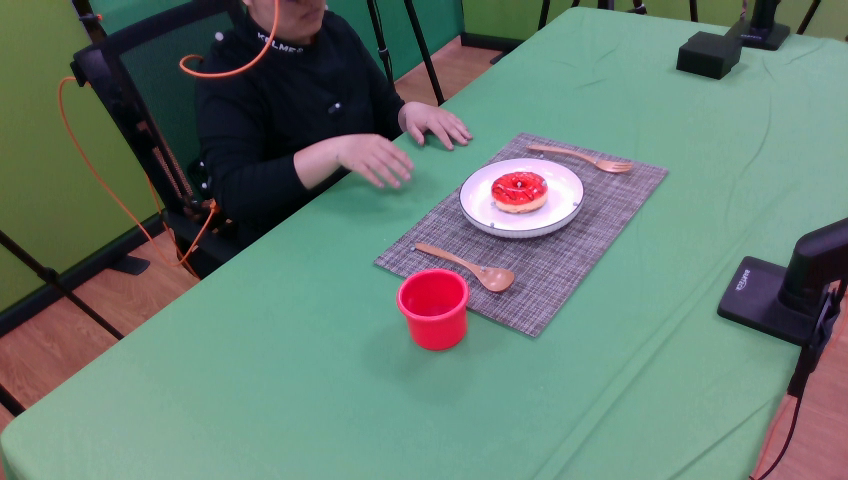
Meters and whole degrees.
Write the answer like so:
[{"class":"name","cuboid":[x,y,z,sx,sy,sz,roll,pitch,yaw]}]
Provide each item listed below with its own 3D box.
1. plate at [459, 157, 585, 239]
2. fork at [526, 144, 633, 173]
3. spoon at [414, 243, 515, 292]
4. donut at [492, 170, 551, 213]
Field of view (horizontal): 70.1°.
[{"class":"plate","cuboid":[0.163,-0.068,1.015,0.209,0.038,0.208,-5,40,5]},{"class":"fork","cuboid":[0.279,-0.153,1.108,0.206,0.019,0.028,21,56,29]},{"class":"spoon","cuboid":[0.057,0.035,0.924,0.192,0.022,0.041,24,68,34]},{"class":"donut","cuboid":[0.163,-0.083,1.015,0.099,0.048,0.098,-6,37,5]}]
